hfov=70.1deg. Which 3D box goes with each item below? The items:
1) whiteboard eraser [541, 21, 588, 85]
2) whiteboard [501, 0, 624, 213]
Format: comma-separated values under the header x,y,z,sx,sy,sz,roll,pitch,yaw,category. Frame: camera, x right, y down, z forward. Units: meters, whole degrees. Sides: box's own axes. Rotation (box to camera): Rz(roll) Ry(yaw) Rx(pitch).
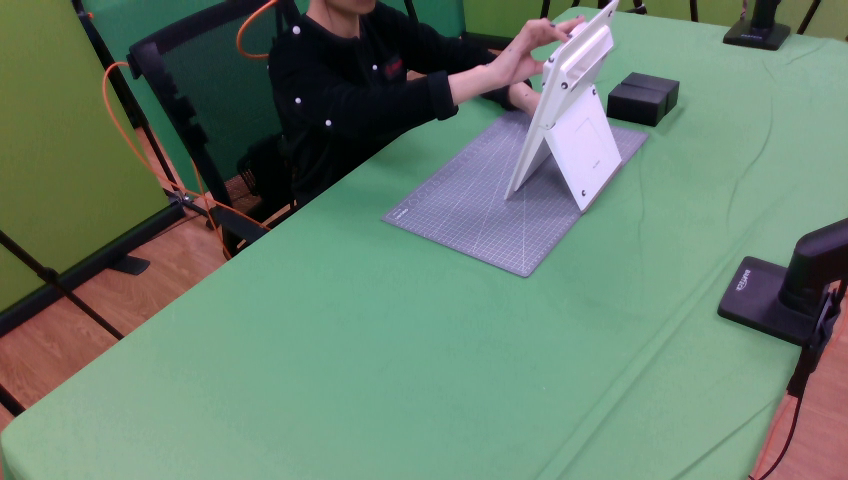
x,y,z,sx,sy,sz,roll,pitch,yaw,category
0.232,-0.293,0.967,0.041,0.056,0.113,35,71,15,whiteboard eraser
0.272,-0.189,0.977,0.143,0.306,0.218,34,54,16,whiteboard
